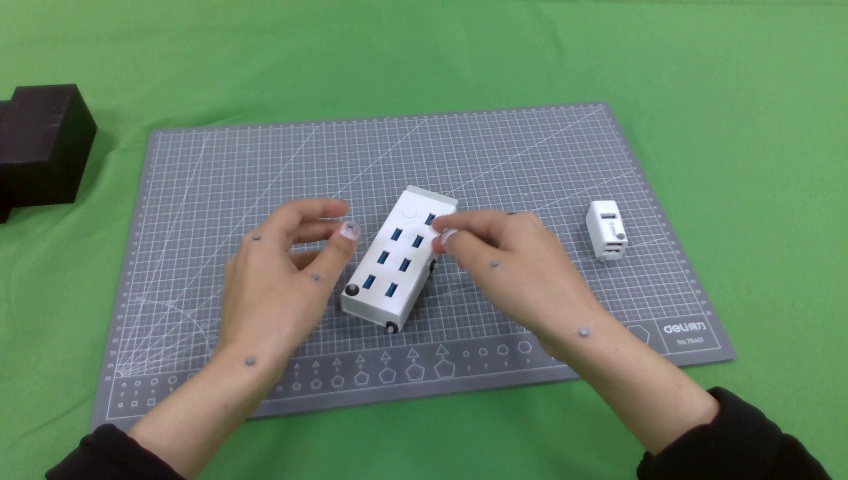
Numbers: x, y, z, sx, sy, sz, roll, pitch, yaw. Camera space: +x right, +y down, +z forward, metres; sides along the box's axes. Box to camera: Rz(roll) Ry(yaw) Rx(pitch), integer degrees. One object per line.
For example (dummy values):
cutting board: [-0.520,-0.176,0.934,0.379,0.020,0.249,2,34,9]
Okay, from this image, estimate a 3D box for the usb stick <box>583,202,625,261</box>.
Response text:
usb stick: [0.148,-0.013,0.503,0.021,0.027,0.058,-1,49,-2]

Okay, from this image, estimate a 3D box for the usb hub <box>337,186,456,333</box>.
usb hub: [-0.018,0.011,0.477,0.049,0.025,0.124,19,52,13]
